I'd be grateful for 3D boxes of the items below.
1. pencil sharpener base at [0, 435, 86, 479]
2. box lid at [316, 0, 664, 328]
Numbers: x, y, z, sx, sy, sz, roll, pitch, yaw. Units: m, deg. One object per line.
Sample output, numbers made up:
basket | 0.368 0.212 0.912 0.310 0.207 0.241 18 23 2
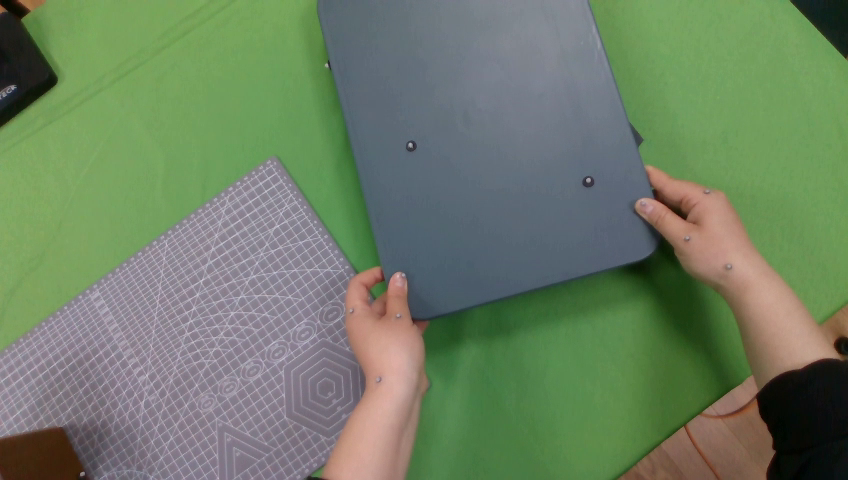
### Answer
pencil sharpener base | -0.387 0.240 0.578 0.061 0.107 0.076 -35 79 -1
box lid | 0.053 -0.121 0.592 0.263 0.015 0.369 -17 80 6
